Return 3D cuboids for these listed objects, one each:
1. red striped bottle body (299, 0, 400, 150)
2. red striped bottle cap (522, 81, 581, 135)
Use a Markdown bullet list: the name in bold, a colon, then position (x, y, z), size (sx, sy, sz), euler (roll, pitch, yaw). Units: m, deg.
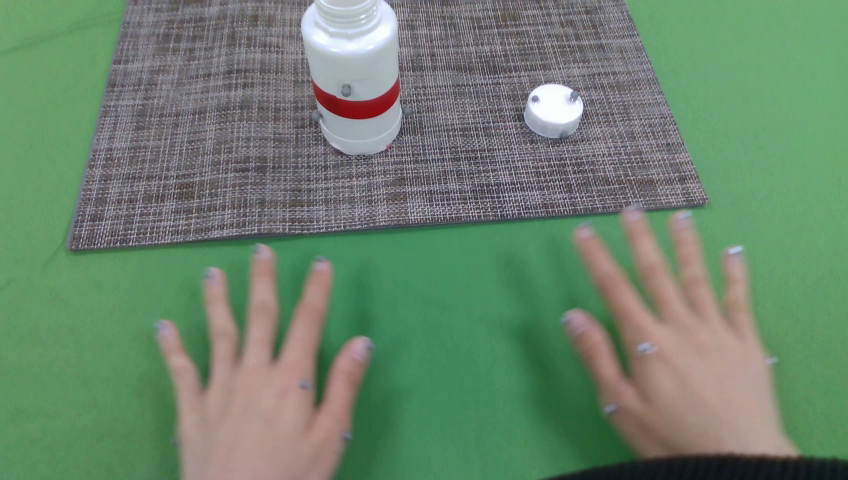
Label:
- **red striped bottle body**: position (-0.050, -0.123, 0.420), size (0.063, 0.120, 0.062), euler (0, 59, 0)
- **red striped bottle cap**: position (0.100, -0.104, 0.475), size (0.044, 0.018, 0.044), euler (1, 55, -1)
